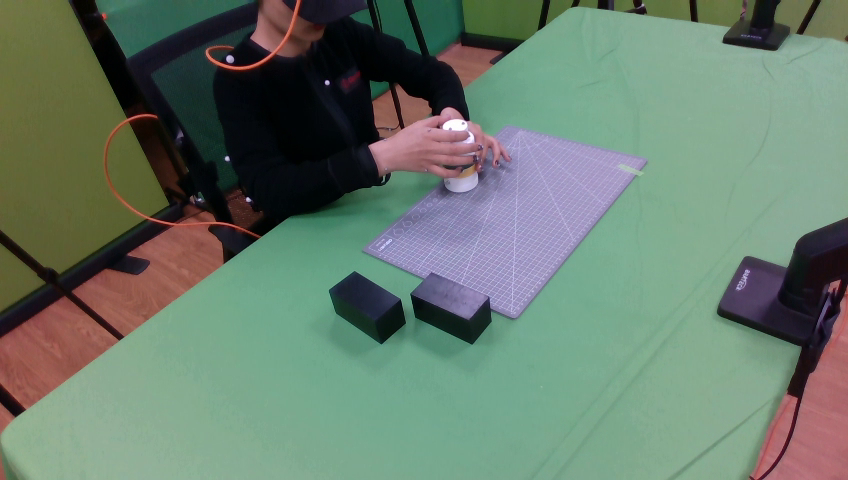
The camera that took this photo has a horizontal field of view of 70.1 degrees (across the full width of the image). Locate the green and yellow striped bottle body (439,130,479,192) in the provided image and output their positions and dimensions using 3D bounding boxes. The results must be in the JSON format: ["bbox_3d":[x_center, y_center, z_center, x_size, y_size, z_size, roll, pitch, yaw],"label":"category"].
[{"bbox_3d":[0.062,-0.149,1.066,0.063,0.120,0.063,-5,39,5],"label":"green and yellow striped bottle body"}]

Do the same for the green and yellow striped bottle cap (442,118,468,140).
[{"bbox_3d":[0.053,-0.190,1.033,0.045,0.020,0.045,-2,43,2],"label":"green and yellow striped bottle cap"}]
